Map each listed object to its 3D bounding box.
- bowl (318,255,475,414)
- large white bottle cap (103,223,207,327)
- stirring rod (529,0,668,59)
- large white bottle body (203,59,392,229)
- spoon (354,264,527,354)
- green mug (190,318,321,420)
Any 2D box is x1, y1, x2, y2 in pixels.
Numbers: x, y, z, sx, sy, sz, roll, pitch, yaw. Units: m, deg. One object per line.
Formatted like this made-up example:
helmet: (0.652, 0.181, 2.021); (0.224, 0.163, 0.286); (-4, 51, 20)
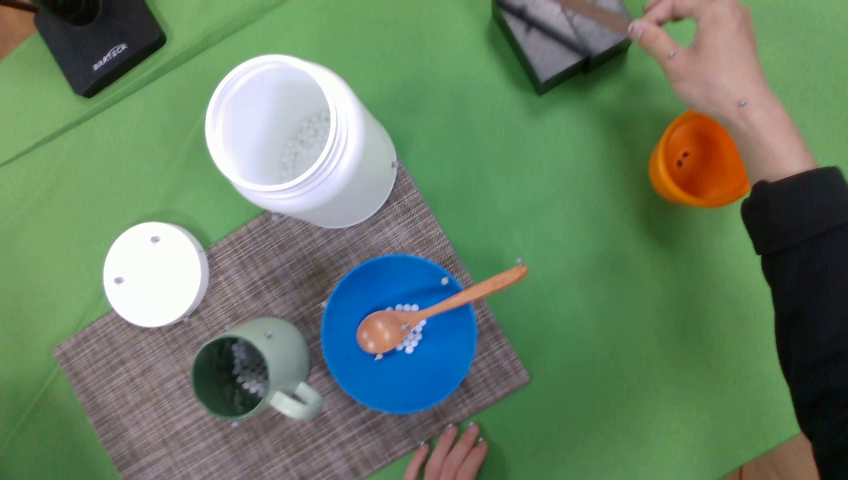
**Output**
bowl: (-0.022, 0.089, 0.605); (0.151, 0.077, 0.151); (0, 90, 7)
large white bottle cap: (-0.296, 0.039, 0.666); (0.115, 0.018, 0.114); (0, 89, 7)
stirring rod: (0.134, -0.203, 0.540); (0.175, 0.006, 0.014); (30, 126, 13)
large white bottle body: (-0.109, -0.082, 0.562); (0.130, 0.185, 0.130); (-1, 86, 9)
spoon: (0.011, 0.066, 0.572); (0.193, 0.022, 0.041); (-26, 89, 29)
green mug: (-0.159, 0.137, 0.606); (0.125, 0.105, 0.092); (32, 92, 6)
